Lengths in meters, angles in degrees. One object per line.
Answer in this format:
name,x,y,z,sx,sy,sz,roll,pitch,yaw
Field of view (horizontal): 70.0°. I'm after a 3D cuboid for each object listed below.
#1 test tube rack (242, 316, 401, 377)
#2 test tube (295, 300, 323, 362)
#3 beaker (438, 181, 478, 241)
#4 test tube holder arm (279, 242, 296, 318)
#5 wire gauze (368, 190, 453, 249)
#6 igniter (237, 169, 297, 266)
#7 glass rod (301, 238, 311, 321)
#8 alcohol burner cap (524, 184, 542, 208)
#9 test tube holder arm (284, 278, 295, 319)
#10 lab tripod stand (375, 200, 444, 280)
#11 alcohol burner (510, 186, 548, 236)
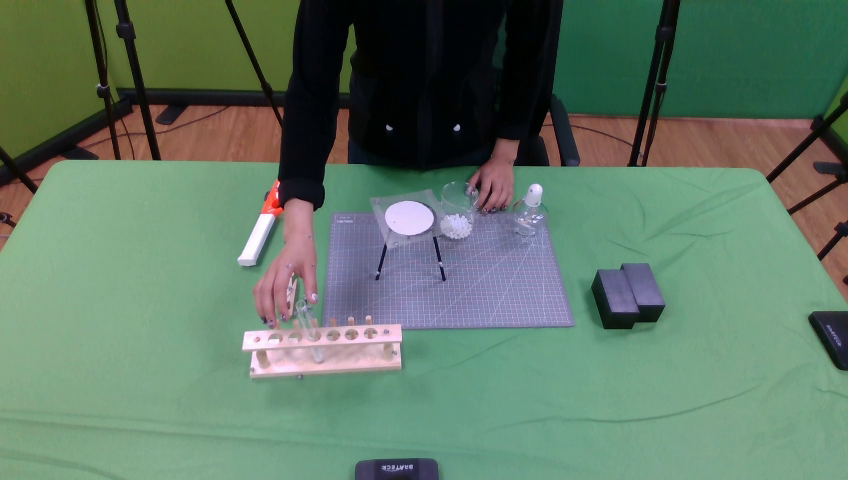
test tube rack,-0.160,0.166,0.982,0.242,0.085,0.066,-2,46,-6
test tube,-0.176,0.144,0.934,0.017,0.151,0.017,-2,46,2
beaker,0.066,-0.053,1.200,0.074,0.101,0.083,-17,50,-19
test tube holder arm,-0.249,0.069,1.113,0.013,0.015,0.177,26,38,-28
wire gauze,-0.025,-0.042,1.064,0.121,0.011,0.124,-11,48,-17
igniter,-0.313,-0.054,1.224,0.057,0.025,0.275,1,45,10
glass rod,-0.218,0.068,1.124,0.008,0.008,0.198,-1,47,-5
alcohol burner cap,0.216,-0.089,1.186,0.034,0.048,0.033,1,55,-1
test tube holder arm,-0.242,0.103,1.085,0.010,0.015,0.087,26,38,-28
lab tripod stand,-0.023,0.004,1.113,0.148,0.132,0.147,4,45,-3
alcohol burner,0.214,-0.066,1.213,0.078,0.119,0.077,2,48,-2
